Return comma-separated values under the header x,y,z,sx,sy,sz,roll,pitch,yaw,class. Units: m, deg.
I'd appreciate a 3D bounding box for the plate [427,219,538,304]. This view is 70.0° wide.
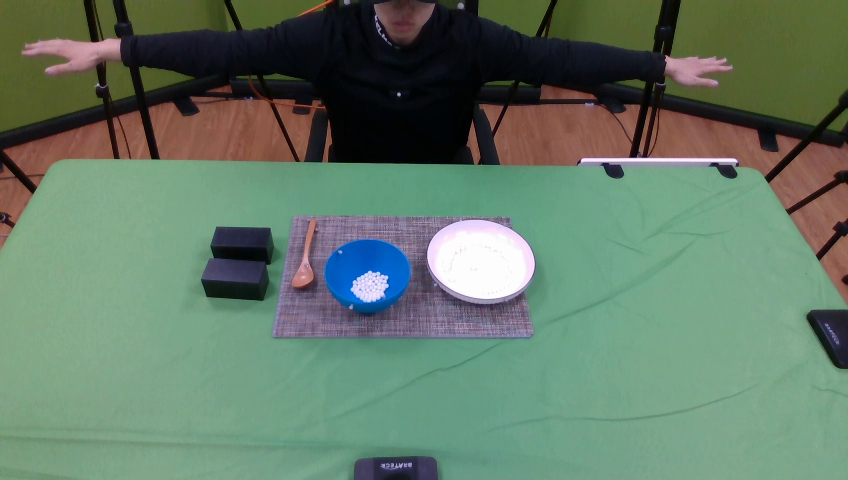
x,y,z,sx,sy,sz,roll,pitch,yaw,class
0.109,0.044,1.149,0.208,0.039,0.206,2,46,-2,plate

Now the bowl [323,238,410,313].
x,y,z,sx,sy,sz,roll,pitch,yaw,class
-0.101,0.077,1.073,0.151,0.077,0.150,2,46,-2,bowl

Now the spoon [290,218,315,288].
x,y,z,sx,sy,sz,roll,pitch,yaw,class
-0.224,0.021,1.156,0.041,0.022,0.192,-11,46,10,spoon
